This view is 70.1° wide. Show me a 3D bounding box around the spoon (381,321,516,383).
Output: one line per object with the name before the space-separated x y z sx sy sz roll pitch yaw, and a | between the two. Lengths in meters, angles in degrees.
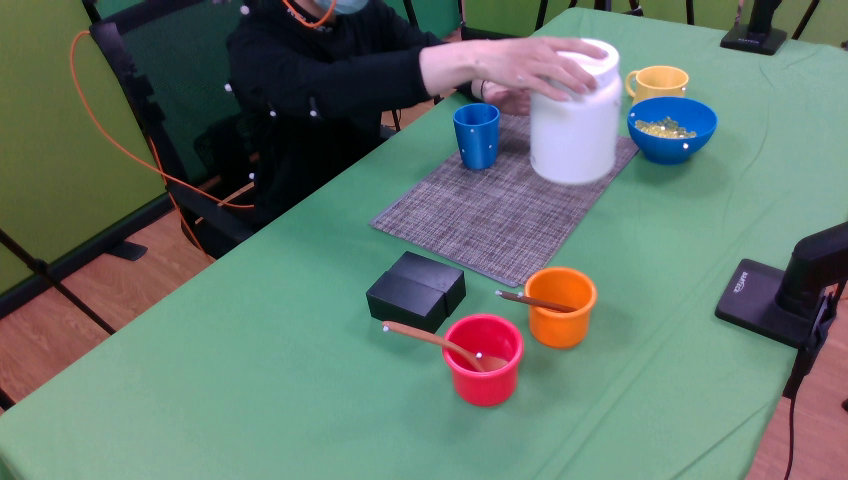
spoon | 0.033 0.131 0.725 0.195 0.021 0.041 29 30 -26

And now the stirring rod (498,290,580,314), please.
stirring rod | 0.151 0.081 0.772 0.178 0.006 0.014 16 20 -45

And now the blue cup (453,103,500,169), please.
blue cup | 0.099 -0.188 1.115 0.092 0.100 0.092 -4 39 4

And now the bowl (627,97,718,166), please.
bowl | 0.439 -0.187 1.087 0.151 0.077 0.150 -4 41 4

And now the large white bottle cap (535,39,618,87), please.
large white bottle cap | 0.215 -0.253 0.859 0.115 0.018 0.114 -5 42 5

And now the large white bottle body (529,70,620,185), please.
large white bottle body | 0.227 -0.191 0.917 0.130 0.185 0.130 -6 43 6

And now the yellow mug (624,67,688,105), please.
yellow mug | 0.464 -0.305 1.230 0.100 0.064 0.129 -34 46 -27
